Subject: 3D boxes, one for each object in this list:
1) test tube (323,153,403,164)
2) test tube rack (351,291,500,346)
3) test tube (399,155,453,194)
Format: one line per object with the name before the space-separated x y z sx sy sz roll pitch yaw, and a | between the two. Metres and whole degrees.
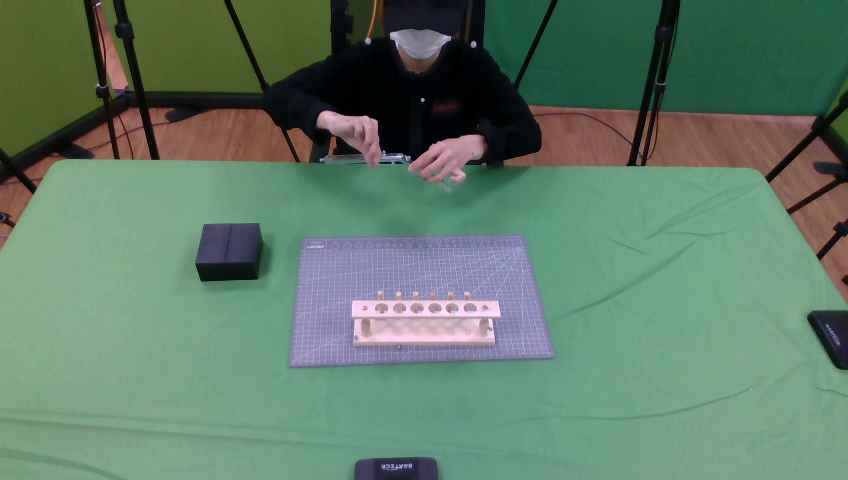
test tube | -0.111 -0.151 1.115 0.150 0.017 0.017 -4 46 -19
test tube rack | 0.000 0.129 1.026 0.242 0.085 0.066 1 46 -4
test tube | 0.006 -0.126 1.189 0.151 0.017 0.017 29 29 -41
